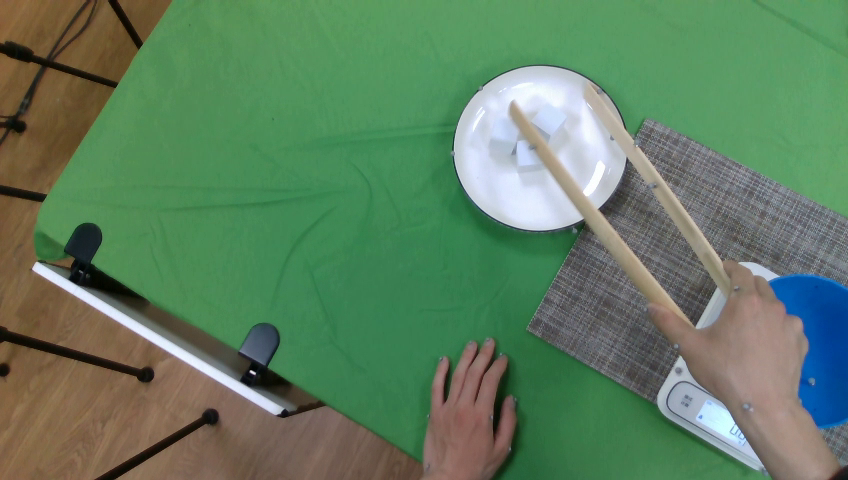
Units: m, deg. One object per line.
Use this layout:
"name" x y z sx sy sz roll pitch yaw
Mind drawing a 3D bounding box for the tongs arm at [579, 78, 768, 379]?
"tongs arm" 0.232 -0.037 0.623 0.051 0.027 0.380 -14 55 -13

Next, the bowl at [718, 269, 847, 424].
"bowl" 0.370 0.108 0.625 0.151 0.077 0.151 -1 82 4

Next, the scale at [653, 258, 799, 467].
"scale" 0.365 0.134 0.675 0.148 0.032 0.200 30 85 9

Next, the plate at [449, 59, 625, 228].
"plate" 0.134 -0.115 0.735 0.207 0.039 0.207 -1 81 4

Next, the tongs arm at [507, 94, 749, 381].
"tongs arm" 0.181 -0.023 0.611 0.028 0.028 0.383 -16 55 -19
